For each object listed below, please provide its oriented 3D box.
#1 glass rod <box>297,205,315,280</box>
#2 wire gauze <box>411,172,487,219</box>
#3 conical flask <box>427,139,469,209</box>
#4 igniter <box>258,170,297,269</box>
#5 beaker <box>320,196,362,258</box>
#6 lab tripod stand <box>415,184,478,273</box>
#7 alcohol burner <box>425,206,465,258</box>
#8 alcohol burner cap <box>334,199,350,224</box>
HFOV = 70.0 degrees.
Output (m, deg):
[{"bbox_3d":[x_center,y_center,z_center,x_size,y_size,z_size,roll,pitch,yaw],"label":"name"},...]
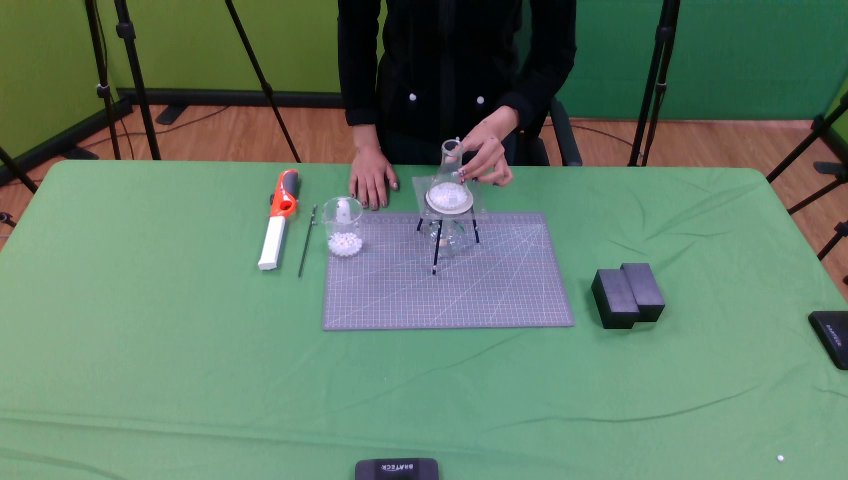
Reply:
[{"bbox_3d":[-0.232,0.001,1.192,0.008,0.008,0.198,2,47,-1],"label":"glass rod"},{"bbox_3d":[0.044,-0.080,1.106,0.125,0.011,0.120,-4,47,-6],"label":"wire gauze"},{"bbox_3d":[0.045,-0.117,1.059,0.075,0.122,0.075,2,48,-2],"label":"conical flask"},{"bbox_3d":[-0.294,-0.049,1.221,0.057,0.025,0.275,-5,45,4],"label":"igniter"},{"bbox_3d":[-0.156,-0.020,1.150,0.084,0.101,0.073,-30,55,-28],"label":"beaker"},{"bbox_3d":[0.041,-0.031,1.152,0.148,0.132,0.147,3,44,-3],"label":"lab tripod stand"},{"bbox_3d":[0.041,-0.023,1.158,0.078,0.119,0.077,3,47,-3],"label":"alcohol burner"},{"bbox_3d":[-0.168,-0.061,1.228,0.034,0.048,0.033,3,46,-3],"label":"alcohol burner cap"}]
